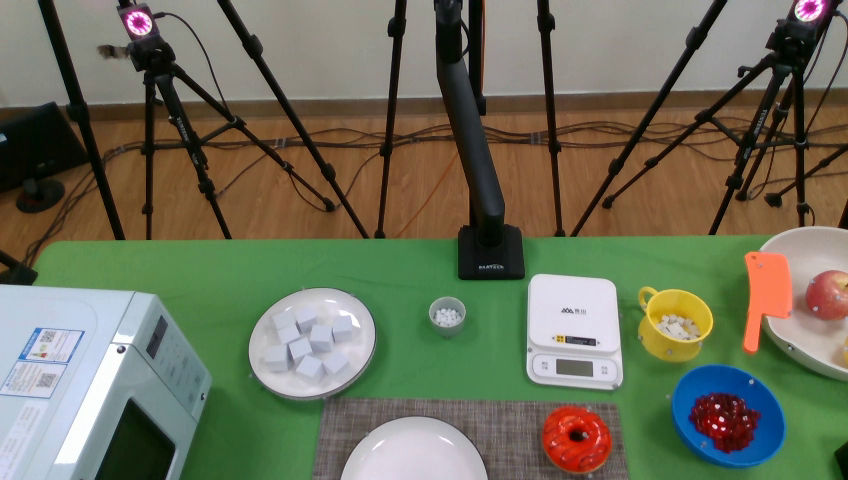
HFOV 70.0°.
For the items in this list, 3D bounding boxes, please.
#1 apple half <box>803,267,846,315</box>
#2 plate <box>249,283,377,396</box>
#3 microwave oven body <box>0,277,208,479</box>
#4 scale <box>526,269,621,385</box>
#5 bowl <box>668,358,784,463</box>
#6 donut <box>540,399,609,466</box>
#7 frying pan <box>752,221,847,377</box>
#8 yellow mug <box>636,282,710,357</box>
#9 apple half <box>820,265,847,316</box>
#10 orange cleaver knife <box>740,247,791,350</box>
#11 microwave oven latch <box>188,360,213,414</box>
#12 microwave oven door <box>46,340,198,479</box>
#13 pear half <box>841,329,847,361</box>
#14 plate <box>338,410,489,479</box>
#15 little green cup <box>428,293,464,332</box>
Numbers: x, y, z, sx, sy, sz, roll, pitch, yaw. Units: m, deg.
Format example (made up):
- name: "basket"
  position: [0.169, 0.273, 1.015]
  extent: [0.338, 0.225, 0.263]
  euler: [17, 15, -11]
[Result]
- name: "apple half"
  position: [0.639, 0.087, 0.983]
  extent: [0.033, 0.082, 0.080]
  euler: [-5, 50, -5]
- name: "plate"
  position: [-0.179, 0.165, 0.999]
  extent: [0.207, 0.039, 0.205]
  euler: [-1, 51, 2]
- name: "microwave oven body"
  position: [-0.520, 0.296, 0.763]
  extent: [0.326, 0.262, 0.437]
  euler: [3, 52, 5]
- name: "scale"
  position: [0.244, 0.139, 0.999]
  extent: [0.148, 0.032, 0.199]
  euler: [3, 52, 7]
- name: "bowl"
  position: [0.419, 0.254, 0.866]
  extent: [0.151, 0.077, 0.150]
  euler: [-2, 51, 2]
- name: "donut"
  position: [0.216, 0.277, 0.875]
  extent: [0.099, 0.049, 0.098]
  euler: [-3, 51, 4]
- name: "frying pan"
  position: [0.711, 0.160, 0.908]
  extent: [0.307, 0.104, 0.482]
  euler: [-21, 45, -12]
- name: "yellow mug"
  position: [0.392, 0.119, 0.984]
  extent: [0.100, 0.064, 0.129]
  euler: [-26, 53, -16]
- name: "apple half"
  position: [0.677, 0.083, 0.986]
  extent: [0.053, 0.075, 0.080]
  euler: [-5, 47, -5]
- name: "orange cleaver knife"
  position: [0.536, 0.088, 0.953]
  extent: [0.077, 0.012, 0.210]
  euler: [15, 54, 16]
- name: "microwave oven latch"
  position: [-0.351, 0.226, 0.935]
  extent: [0.030, 0.030, 0.078]
  euler: [4, 52, 6]
- name: "microwave oven door"
  position: [-0.379, 0.331, 0.719]
  extent: [0.039, 0.246, 0.352]
  euler: [2, 51, 5]
- name: "pear half"
  position: [0.673, 0.155, 0.905]
  extent: [0.075, 0.111, 0.056]
  euler: [30, 59, 29]
- name: "plate"
  position: [-0.014, 0.341, 0.841]
  extent: [0.209, 0.038, 0.207]
  euler: [-2, 51, 3]
- name: "little green cup"
  position: [0.038, 0.124, 1.019]
  extent: [0.061, 0.039, 0.061]
  euler: [-2, 50, 3]
